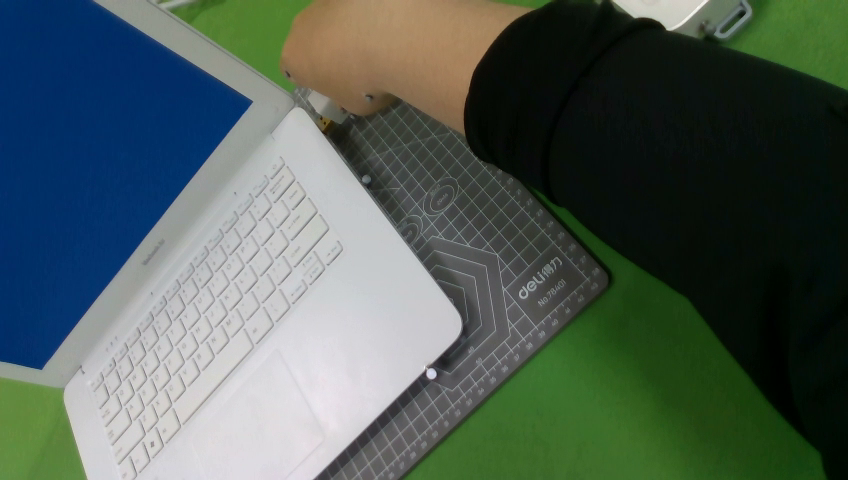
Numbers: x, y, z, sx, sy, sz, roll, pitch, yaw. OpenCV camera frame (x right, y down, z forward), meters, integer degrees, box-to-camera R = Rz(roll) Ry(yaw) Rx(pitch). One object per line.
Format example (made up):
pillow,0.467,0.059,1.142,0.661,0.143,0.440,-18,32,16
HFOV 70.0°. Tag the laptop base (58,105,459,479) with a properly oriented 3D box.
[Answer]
laptop base,-0.152,0.095,0.461,0.354,0.023,0.233,-47,62,14

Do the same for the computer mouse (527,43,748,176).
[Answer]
computer mouse,0.107,-0.070,0.325,0.116,0.041,0.062,10,86,39

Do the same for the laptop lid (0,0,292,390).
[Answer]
laptop lid,-0.289,-0.027,0.436,0.357,0.244,0.013,-48,45,15

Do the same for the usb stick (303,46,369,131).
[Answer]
usb stick,-0.068,-0.107,0.440,0.059,0.027,0.021,-54,55,17

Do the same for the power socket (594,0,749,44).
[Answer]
power socket,0.101,-0.197,0.362,0.072,0.033,0.224,-44,59,17
